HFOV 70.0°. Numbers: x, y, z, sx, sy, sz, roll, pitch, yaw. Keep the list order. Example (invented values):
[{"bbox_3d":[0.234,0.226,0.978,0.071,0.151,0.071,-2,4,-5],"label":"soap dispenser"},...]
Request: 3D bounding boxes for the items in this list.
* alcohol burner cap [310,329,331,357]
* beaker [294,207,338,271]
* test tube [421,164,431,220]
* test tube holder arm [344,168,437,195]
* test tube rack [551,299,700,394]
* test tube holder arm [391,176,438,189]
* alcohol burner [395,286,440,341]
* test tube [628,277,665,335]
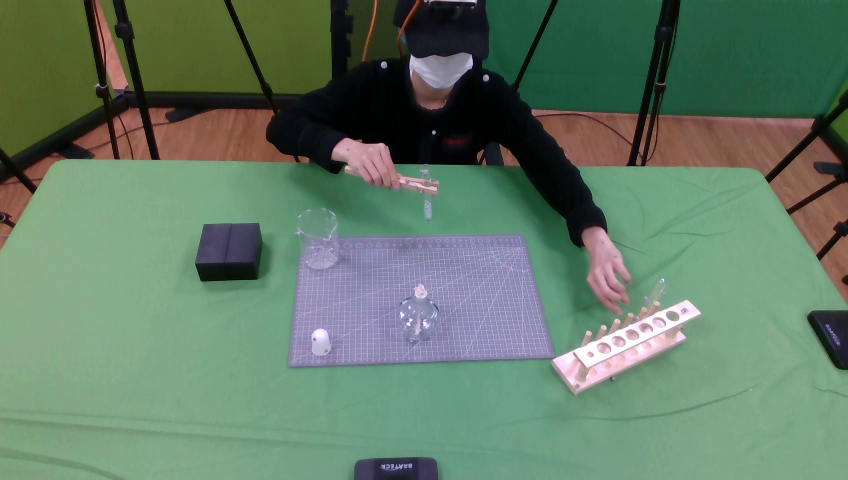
[{"bbox_3d":[-0.173,0.168,1.004,0.034,0.048,0.033,2,46,-2],"label":"alcohol burner cap"},{"bbox_3d":[-0.196,0.003,1.123,0.074,0.101,0.083,-23,53,-24],"label":"beaker"},{"bbox_3d":[0.005,-0.086,1.123,0.017,0.151,0.017,-1,55,2],"label":"test tube"},{"bbox_3d":[-0.063,-0.109,1.113,0.178,0.015,0.013,12,50,8],"label":"test tube holder arm"},{"bbox_3d":[0.339,0.166,1.021,0.242,0.085,0.066,-19,50,-21],"label":"test tube rack"},{"bbox_3d":[-0.018,-0.105,1.111,0.088,0.015,0.010,7,50,4],"label":"test tube holder arm"},{"bbox_3d":[-0.010,0.116,1.018,0.078,0.119,0.077,3,47,-3],"label":"alcohol burner"},{"bbox_3d":[0.371,0.112,1.014,0.017,0.151,0.017,3,47,-3],"label":"test tube"}]
